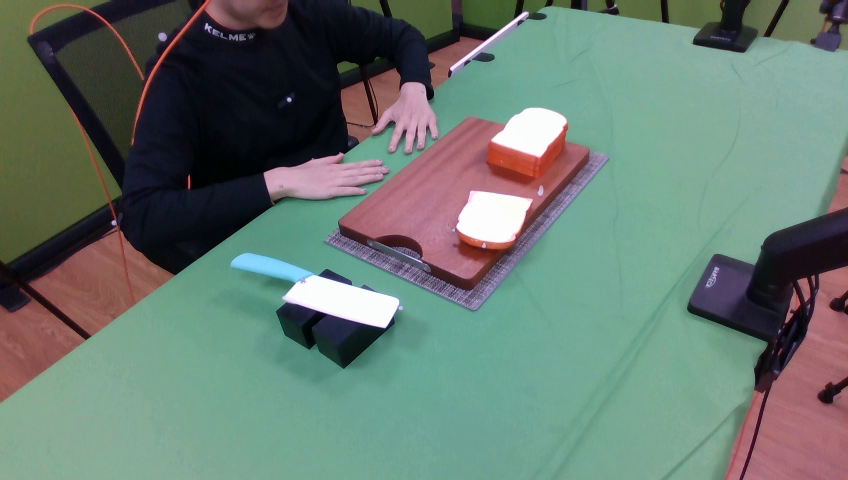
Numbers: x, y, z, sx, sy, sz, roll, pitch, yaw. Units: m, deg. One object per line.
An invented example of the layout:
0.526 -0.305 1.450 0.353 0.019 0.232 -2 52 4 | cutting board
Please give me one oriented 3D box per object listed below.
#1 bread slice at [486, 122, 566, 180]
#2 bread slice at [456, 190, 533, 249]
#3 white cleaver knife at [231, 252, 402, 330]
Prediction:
0.194 -0.167 1.091 0.106 0.018 0.134 28 56 29 | bread slice
0.106 -0.032 0.945 0.104 0.019 0.131 11 40 16 | bread slice
-0.163 0.067 0.849 0.284 0.021 0.066 13 43 25 | white cleaver knife
